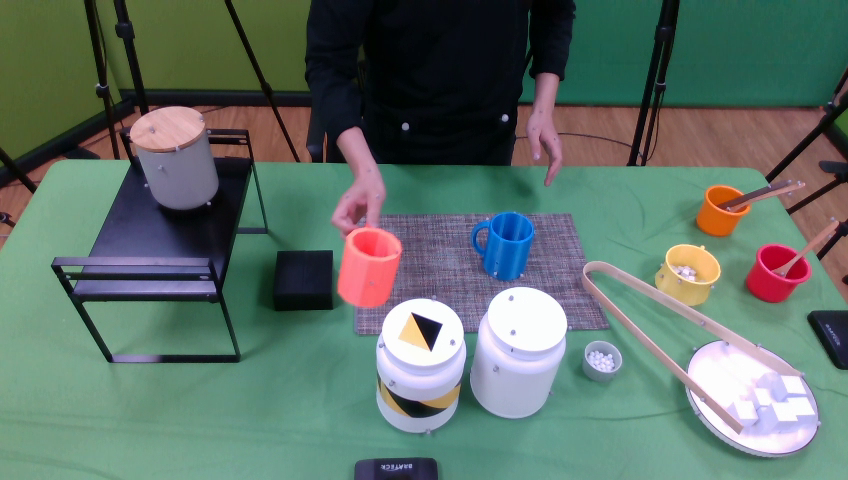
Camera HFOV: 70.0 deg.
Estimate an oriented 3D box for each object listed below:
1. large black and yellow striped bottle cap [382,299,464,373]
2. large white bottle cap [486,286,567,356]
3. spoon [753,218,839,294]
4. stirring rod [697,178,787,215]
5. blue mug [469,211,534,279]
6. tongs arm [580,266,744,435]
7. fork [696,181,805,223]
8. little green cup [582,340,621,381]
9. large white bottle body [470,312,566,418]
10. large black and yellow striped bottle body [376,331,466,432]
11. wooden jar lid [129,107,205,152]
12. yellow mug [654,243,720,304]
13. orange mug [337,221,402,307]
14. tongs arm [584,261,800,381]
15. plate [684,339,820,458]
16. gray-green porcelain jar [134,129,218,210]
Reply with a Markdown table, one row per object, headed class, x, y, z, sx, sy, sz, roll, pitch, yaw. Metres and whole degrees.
| class | x | y | z | sx | sy | sz | roll | pitch | yaw |
| --- | --- | --- | --- | --- | --- | --- | --- | --- | --- |
| large black and yellow striped bottle cap | -0.002 | 0.132 | 0.843 | 0.115 | 0.019 | 0.114 | 2 | 46 | -1 |
| large white bottle cap | 0.147 | 0.114 | 0.869 | 0.115 | 0.018 | 0.114 | 3 | 46 | -3 |
| spoon | 0.700 | 0.031 | 1.138 | 0.194 | 0.022 | 0.041 | -47 | 55 | 14 |
| stirring rod | 0.650 | -0.088 | 1.246 | 0.006 | 0.176 | 0.014 | 29 | 50 | -39 |
| blue mug | 0.141 | 0.005 | 1.140 | 0.116 | 0.106 | 0.082 | 18 | 48 | 13 |
| tongs arm | 0.384 | 0.173 | 1.028 | 0.028 | 0.028 | 0.385 | -25 | 46 | -15 |
| fork | 0.659 | -0.077 | 1.232 | 0.207 | 0.019 | 0.028 | -26 | 35 | 34 |
| little green cup | 0.295 | 0.203 | 1.015 | 0.061 | 0.039 | 0.061 | 2 | 45 | -2 |
| large white bottle body | 0.143 | 0.174 | 0.930 | 0.131 | 0.185 | 0.130 | 2 | 46 | -2 |
| large black and yellow striped bottle body | -0.007 | 0.189 | 0.905 | 0.131 | 0.185 | 0.130 | 2 | 46 | -2 |
| wooden jar lid | -0.385 | -0.163 | 0.915 | 0.108 | 0.021 | 0.107 | 2 | 47 | -2 |
| yellow mug | 0.504 | 0.054 | 1.154 | 0.099 | 0.064 | 0.130 | 28 | 50 | 22 |
| orange mug | -0.089 | 0.029 | 0.966 | 0.084 | 0.101 | 0.125 | 7 | 39 | -15 |
| tongs arm | 0.452 | 0.137 | 1.064 | 0.051 | 0.027 | 0.382 | -34 | 50 | -27 |
| plate | 0.523 | 0.256 | 0.982 | 0.208 | 0.039 | 0.206 | 2 | 46 | -2 |
| gray-green porcelain jar | -0.388 | -0.120 | 0.960 | 0.106 | 0.127 | 0.105 | 2 | 46 | -2 |
